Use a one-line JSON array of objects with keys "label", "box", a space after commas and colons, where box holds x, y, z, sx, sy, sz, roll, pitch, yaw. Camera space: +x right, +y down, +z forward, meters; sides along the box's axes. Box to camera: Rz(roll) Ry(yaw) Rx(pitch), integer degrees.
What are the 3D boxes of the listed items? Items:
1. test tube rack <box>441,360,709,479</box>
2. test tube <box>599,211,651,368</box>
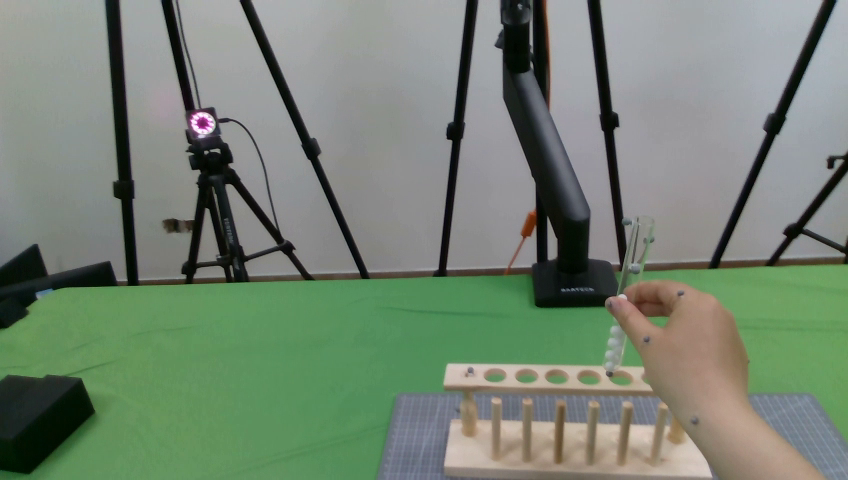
[{"label": "test tube rack", "box": [0.139, 0.170, 0.577, 0.242, 0.086, 0.066, -1, 26, 9]}, {"label": "test tube", "box": [0.161, 0.045, 0.490, 0.017, 0.151, 0.017, 1, 31, 0]}]
